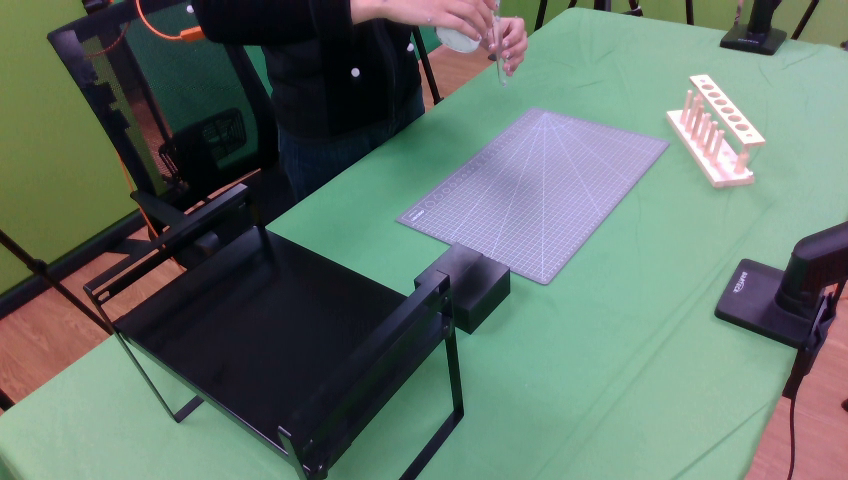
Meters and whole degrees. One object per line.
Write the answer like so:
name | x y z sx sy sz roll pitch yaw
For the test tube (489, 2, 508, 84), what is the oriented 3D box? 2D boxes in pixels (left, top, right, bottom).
test tube | 0.122 -0.316 0.981 0.017 0.151 0.017 -7 51 10

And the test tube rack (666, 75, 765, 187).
test tube rack | 0.512 -0.201 1.082 0.067 0.085 0.241 -6 41 2

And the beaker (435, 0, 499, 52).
beaker | 0.065 -0.333 0.881 0.073 0.085 0.100 20 82 35
